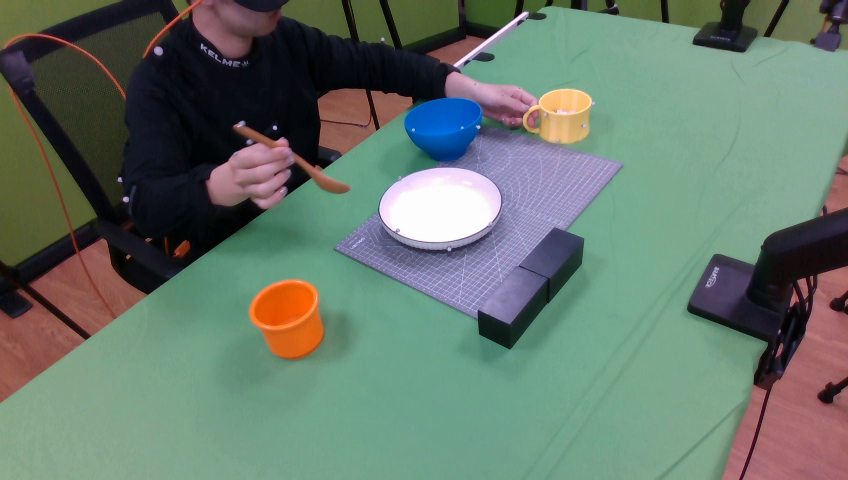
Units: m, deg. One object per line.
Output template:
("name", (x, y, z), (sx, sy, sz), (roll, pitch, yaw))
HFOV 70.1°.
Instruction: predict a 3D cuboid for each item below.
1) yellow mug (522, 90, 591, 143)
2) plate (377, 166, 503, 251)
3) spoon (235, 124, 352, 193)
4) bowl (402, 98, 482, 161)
("yellow mug", (0.257, -0.239, 1.177), (0.131, 0.064, 0.099), (-6, 40, 2))
("plate", (0.027, -0.050, 1.007), (0.209, 0.038, 0.208), (-4, 41, 4))
("spoon", (-0.171, -0.106, 0.811), (0.041, 0.195, 0.021), (-8, 61, 39))
("bowl", (0.040, -0.203, 1.154), (0.151, 0.077, 0.150), (-7, 37, 6))
